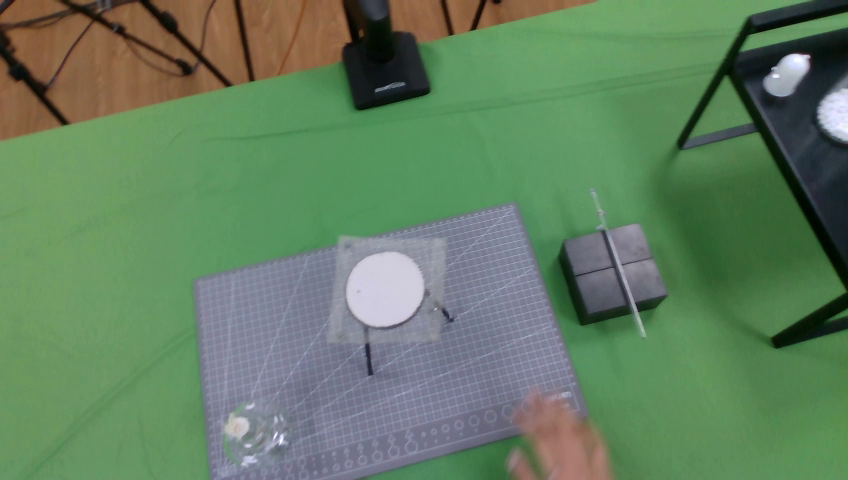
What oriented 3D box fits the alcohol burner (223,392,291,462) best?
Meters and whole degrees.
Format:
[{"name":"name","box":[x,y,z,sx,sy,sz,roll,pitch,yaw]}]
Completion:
[{"name":"alcohol burner","box":[-0.191,0.207,0.676,0.078,0.120,0.077,-1,68,2]}]

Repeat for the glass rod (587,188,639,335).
[{"name":"glass rod","box":[0.232,0.023,0.747,0.008,0.008,0.198,-11,67,-2]}]

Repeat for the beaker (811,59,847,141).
[{"name":"beaker","box":[0.454,-0.153,0.619,0.073,0.101,0.083,28,71,14]}]

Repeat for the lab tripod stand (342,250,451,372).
[{"name":"lab tripod stand","box":[-0.045,0.075,0.717,0.148,0.132,0.147,-2,66,4]}]

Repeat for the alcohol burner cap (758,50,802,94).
[{"name":"alcohol burner cap","box":[0.395,-0.188,0.668,0.034,0.048,0.033,-1,65,2]}]

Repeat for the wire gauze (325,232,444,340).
[{"name":"wire gauze","box":[-0.042,0.047,0.655,0.121,0.011,0.124,2,66,4]}]
